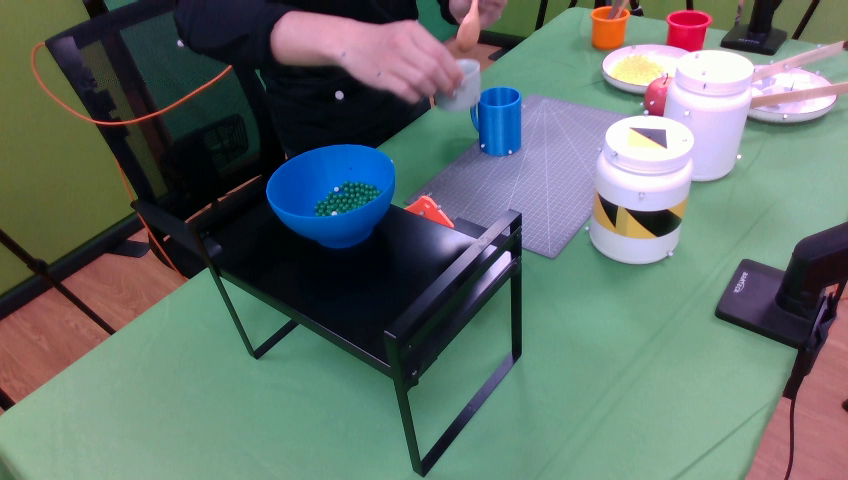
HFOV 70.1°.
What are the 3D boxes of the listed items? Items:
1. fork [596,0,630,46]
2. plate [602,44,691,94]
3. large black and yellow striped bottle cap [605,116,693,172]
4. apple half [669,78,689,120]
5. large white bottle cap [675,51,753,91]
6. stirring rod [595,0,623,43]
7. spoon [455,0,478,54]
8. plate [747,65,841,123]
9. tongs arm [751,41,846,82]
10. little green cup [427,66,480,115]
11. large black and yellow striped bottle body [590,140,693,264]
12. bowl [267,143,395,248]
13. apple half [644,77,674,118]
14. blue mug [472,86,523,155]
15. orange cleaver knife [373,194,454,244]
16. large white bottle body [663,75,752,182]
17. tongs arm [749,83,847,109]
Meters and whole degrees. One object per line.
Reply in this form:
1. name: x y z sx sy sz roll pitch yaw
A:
1. fork: 0.481 -0.556 1.452 0.028 0.019 0.207 40 103 40
2. plate: 0.495 -0.367 1.317 0.209 0.038 0.208 -4 40 4
3. large black and yellow striped bottle cap: 0.309 -0.134 0.833 0.115 0.019 0.114 -5 40 5
4. apple half: 0.498 -0.273 1.180 0.032 0.082 0.081 7 42 25
5. large white bottle cap: 0.463 -0.271 0.967 0.115 0.018 0.114 -4 40 4
6. stirring rod: 0.460 -0.556 1.459 0.014 0.006 0.176 30 93 23
7. spoon: 0.076 -0.350 0.876 0.021 0.042 0.193 -4 61 36
8. plate: 0.694 -0.283 1.189 0.207 0.039 0.206 -4 40 4
9. tongs arm: 0.708 -0.331 1.194 0.386 0.026 0.050 -18 45 -16
10. little green cup: 0.036 -0.172 0.698 0.061 0.039 0.061 -5 34 4
11. large black and yellow striped bottle body: 0.317 -0.071 0.889 0.131 0.185 0.130 -4 41 4
12. bowl: -0.104 -0.043 0.725 0.151 0.077 0.150 -4 40 4
13. apple half: 0.463 -0.279 1.194 0.053 0.075 0.081 8 46 24
14. blue mug: 0.135 -0.235 1.163 0.082 0.106 0.115 -36 48 -28
15. orange cleaver knife: -0.032 -0.026 0.964 0.210 0.077 0.012 -10 29 50
16. large white bottle body: 0.472 -0.207 1.022 0.130 0.185 0.130 -4 41 4
17. tongs arm: 0.734 -0.280 1.133 0.388 0.028 0.028 -9 47 -5
